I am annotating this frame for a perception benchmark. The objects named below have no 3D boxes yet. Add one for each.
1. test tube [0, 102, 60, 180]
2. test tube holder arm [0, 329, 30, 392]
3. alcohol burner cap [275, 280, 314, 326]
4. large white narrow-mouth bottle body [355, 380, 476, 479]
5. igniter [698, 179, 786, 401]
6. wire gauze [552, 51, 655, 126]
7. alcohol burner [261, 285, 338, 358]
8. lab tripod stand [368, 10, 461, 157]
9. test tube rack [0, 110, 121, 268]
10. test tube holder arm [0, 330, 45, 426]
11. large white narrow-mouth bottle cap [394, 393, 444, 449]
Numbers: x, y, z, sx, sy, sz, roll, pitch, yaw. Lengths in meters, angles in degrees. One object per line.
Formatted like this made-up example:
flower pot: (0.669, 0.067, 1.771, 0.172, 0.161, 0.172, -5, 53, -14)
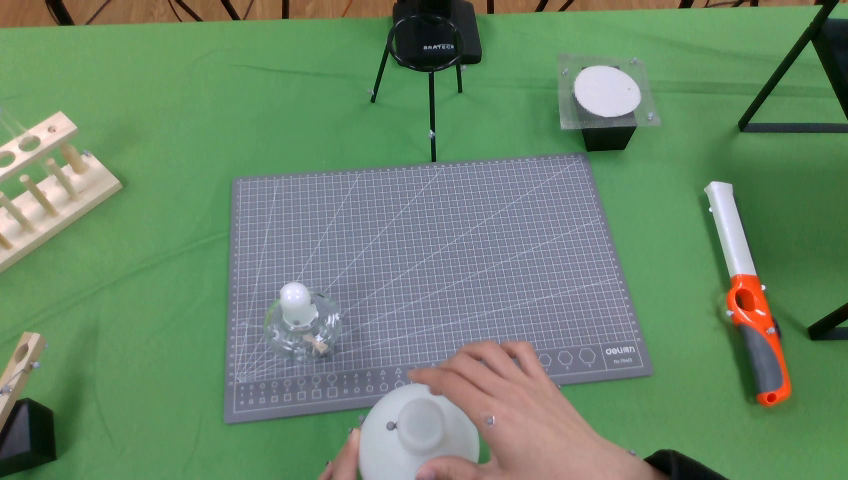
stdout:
test tube: (-0.433, -0.112, 0.648, 0.017, 0.151, 0.017, 0, 60, 0)
test tube holder arm: (-0.387, 0.126, 0.563, 0.010, 0.015, 0.087, 6, 62, 5)
alcohol burner cap: (-0.124, 0.057, 0.571, 0.034, 0.048, 0.033, 0, 56, 0)
large white narrow-mouth bottle body: (-0.008, 0.175, 0.513, 0.102, 0.196, 0.101, 1, 61, -2)
igniter: (0.364, 0.048, 0.698, 0.057, 0.025, 0.274, 6, 61, -12)
wire gauze: (0.227, -0.194, 0.777, 0.121, 0.011, 0.124, 2, 61, -2)
alcohol burner: (-0.125, 0.074, 0.603, 0.078, 0.120, 0.077, 2, 60, -4)
lab tripod stand: (-0.002, -0.199, 0.750, 0.148, 0.132, 0.147, 2, 62, -4)
test tube rack: (-0.469, -0.030, 0.658, 0.066, 0.086, 0.242, 40, 66, 17)
test tube holder arm: (-0.388, 0.166, 0.542, 0.013, 0.015, 0.177, 7, 62, 6)
large white narrow-mouth bottle cap: (-0.004, 0.130, 0.436, 0.038, 0.024, 0.037, 1, 61, -2)
